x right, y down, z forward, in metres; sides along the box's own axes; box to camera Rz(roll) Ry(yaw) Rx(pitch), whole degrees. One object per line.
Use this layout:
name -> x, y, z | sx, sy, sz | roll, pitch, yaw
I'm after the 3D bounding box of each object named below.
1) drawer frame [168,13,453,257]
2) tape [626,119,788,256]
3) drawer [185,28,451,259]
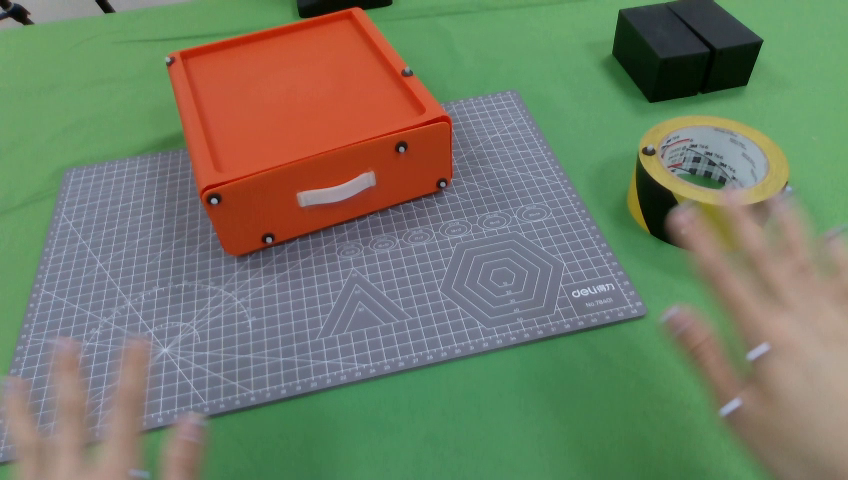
drawer frame -> -0.108, -0.105, 0.546 | 0.202, 0.083, 0.211 | -20, 48, -14
tape -> 0.225, -0.045, 0.490 | 0.117, 0.053, 0.115 | -2, 47, 2
drawer -> -0.105, -0.100, 0.544 | 0.195, 0.074, 0.209 | -20, 48, -13
